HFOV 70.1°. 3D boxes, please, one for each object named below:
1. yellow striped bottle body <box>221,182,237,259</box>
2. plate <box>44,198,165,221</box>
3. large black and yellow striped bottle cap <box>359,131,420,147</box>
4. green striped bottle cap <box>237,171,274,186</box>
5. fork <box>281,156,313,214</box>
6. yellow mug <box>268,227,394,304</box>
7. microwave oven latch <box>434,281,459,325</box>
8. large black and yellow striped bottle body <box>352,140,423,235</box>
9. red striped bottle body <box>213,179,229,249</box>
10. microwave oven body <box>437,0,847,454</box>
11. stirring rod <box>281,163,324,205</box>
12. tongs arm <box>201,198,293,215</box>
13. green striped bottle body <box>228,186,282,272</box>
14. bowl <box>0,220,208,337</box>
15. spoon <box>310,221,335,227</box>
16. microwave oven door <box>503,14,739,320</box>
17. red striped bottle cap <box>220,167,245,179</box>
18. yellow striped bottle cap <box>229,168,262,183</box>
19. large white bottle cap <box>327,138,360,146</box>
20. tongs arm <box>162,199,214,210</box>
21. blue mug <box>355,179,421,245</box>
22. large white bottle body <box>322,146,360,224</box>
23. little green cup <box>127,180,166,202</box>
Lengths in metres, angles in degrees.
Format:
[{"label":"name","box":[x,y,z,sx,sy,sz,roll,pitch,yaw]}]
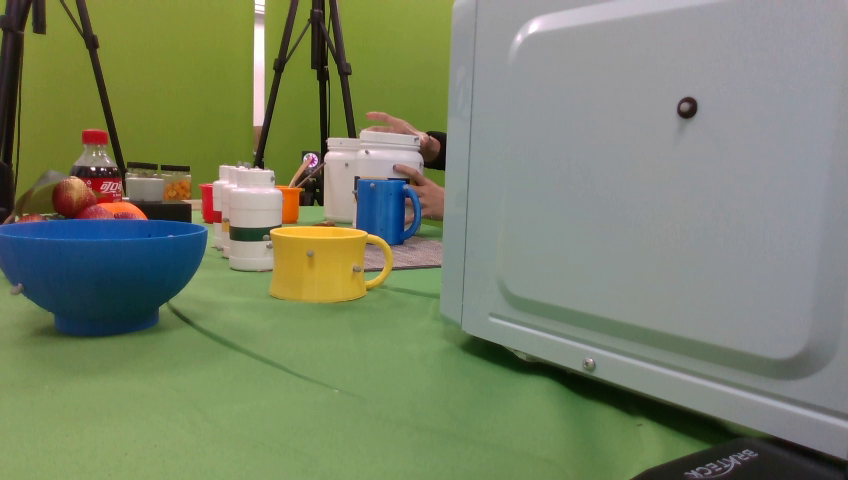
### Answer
[{"label":"yellow striped bottle body","box":[-0.244,-0.035,0.823,0.063,0.120,0.063,2,8,0]},{"label":"plate","box":[-0.617,-0.056,1.179,0.209,0.038,0.209,3,7,0]},{"label":"large black and yellow striped bottle cap","box":[-0.064,-0.189,1.131,0.115,0.019,0.115,6,9,-1]},{"label":"green striped bottle cap","box":[-0.206,-0.074,0.738,0.044,0.020,0.044,1,8,0]},{"label":"fork","box":[-0.289,-0.116,1.320,0.028,0.019,0.207,-2,48,27]},{"label":"yellow mug","box":[-0.094,0.023,0.630,0.131,0.064,0.099,0,8,-22]},{"label":"microwave oven latch","box":[0.044,0.045,0.470,0.079,0.029,0.030,-2,8,-39]},{"label":"large black and yellow striped bottle body","box":[-0.068,-0.104,1.141,0.131,0.184,0.130,3,7,0]},{"label":"red striped bottle body","box":[-0.283,-0.047,0.908,0.063,0.119,0.063,2,8,0]},{"label":"microwave oven body","box":[0.279,-0.040,0.464,0.444,0.260,0.324,-3,9,-41]},{"label":"stirring rod","box":[-0.278,-0.105,1.293,0.176,0.006,0.014,-47,25,-18]},{"label":"tongs arm","box":[-0.423,-0.084,1.472,0.050,0.026,0.386,2,6,21]},{"label":"green striped bottle body","box":[-0.208,-0.023,0.745,0.063,0.119,0.063,2,7,0]},{"label":"bowl","box":[-0.251,0.029,0.479,0.151,0.077,0.151,2,7,0]},{"label":"spoon","box":[-0.185,-0.027,1.131,0.041,0.021,0.193,-19,6,2]},{"label":"microwave oven door","box":[0.218,-0.065,0.600,0.358,0.243,0.039,-4,10,-41]},{"label":"red striped bottle cap","box":[-0.281,-0.099,0.901,0.044,0.017,0.044,-1,5,0]},{"label":"yellow striped bottle cap","box":[-0.241,-0.087,0.816,0.044,0.018,0.044,-3,5,1]},{"label":"large white bottle cap","box":[-0.160,-0.218,1.357,0.115,0.018,0.115,2,8,0]},{"label":"tongs arm","box":[-0.504,-0.091,1.513,0.028,0.028,0.389,0,4,37]},{"label":"blue mug","box":[-0.058,-0.046,1.004,0.116,0.106,0.082,6,9,24]},{"label":"large white bottle body","box":[-0.163,-0.134,1.369,0.131,0.184,0.130,2,7,0]},{"label":"little green cup","box":[-0.486,-0.086,1.062,0.061,0.038,0.061,0,7,0]}]
